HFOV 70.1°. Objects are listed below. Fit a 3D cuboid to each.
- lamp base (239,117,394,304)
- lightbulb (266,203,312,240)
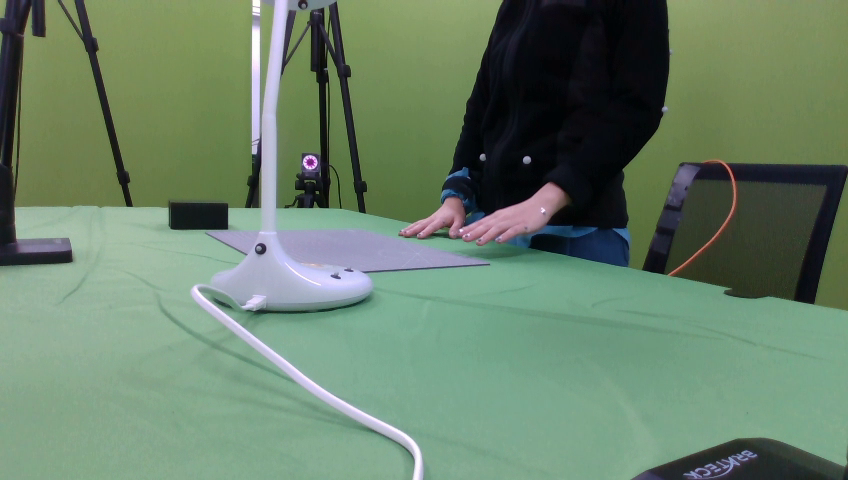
[{"bbox_3d":[-0.106,-0.034,0.619,0.161,0.180,0.178,0,10,-17],"label":"lamp base"},{"bbox_3d":[-0.224,-0.026,1.032,0.059,0.059,0.108,8,25,38],"label":"lightbulb"}]
